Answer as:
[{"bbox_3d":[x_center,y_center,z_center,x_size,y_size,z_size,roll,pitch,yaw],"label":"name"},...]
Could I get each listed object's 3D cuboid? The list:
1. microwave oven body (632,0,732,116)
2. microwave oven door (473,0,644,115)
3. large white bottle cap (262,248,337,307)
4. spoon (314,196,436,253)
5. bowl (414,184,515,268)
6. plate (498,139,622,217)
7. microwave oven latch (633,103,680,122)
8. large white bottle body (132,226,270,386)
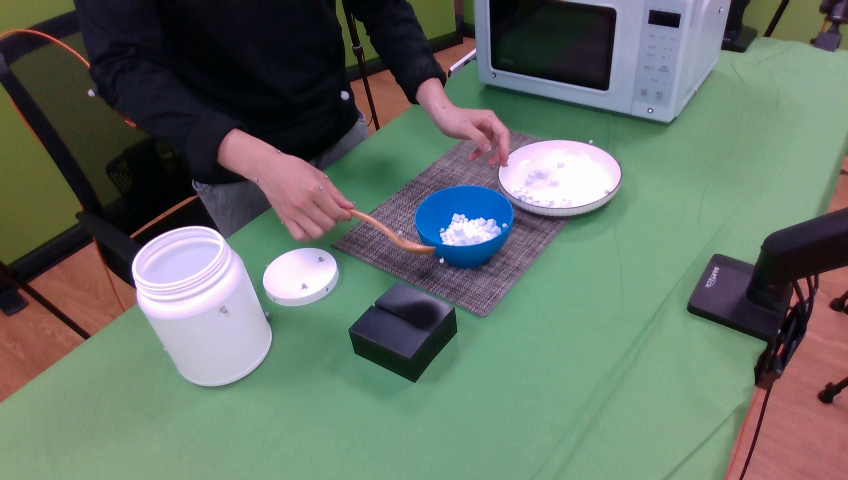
[{"bbox_3d":[0.377,-0.463,1.267,0.438,0.261,0.327,21,49,30],"label":"microwave oven body"},{"bbox_3d":[0.257,-0.396,1.199,0.353,0.245,0.039,21,48,29],"label":"microwave oven door"},{"bbox_3d":[-0.193,0.056,0.934,0.115,0.018,0.114,-5,41,4],"label":"large white bottle cap"},{"bbox_3d":[-0.070,-0.024,0.820,0.192,0.021,0.042,28,15,19],"label":"spoon"},{"bbox_3d":[0.063,-0.010,0.923,0.151,0.077,0.150,-4,40,4],"label":"bowl"},{"bbox_3d":[0.230,-0.103,1.038,0.209,0.038,0.208,-4,41,4],"label":"plate"},{"bbox_3d":[0.443,-0.249,1.157,0.078,0.029,0.030,21,49,30],"label":"microwave oven latch"},{"bbox_3d":[-0.286,0.085,0.784,0.130,0.185,0.130,-4,40,4],"label":"large white bottle body"}]
